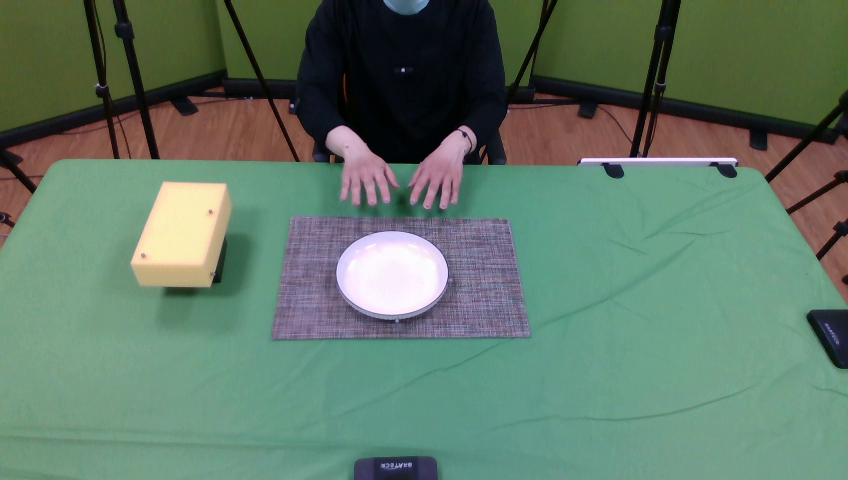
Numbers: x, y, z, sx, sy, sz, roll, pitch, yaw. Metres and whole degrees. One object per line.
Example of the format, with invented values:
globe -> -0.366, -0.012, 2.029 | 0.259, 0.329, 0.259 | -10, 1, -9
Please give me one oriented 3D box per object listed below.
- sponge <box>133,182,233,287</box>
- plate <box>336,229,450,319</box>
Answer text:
sponge -> -0.424, -0.014, 1.084 | 0.118, 0.061, 0.205 | 0, 46, -3
plate -> -0.056, 0.065, 1.113 | 0.208, 0.039, 0.206 | 2, 46, -2
